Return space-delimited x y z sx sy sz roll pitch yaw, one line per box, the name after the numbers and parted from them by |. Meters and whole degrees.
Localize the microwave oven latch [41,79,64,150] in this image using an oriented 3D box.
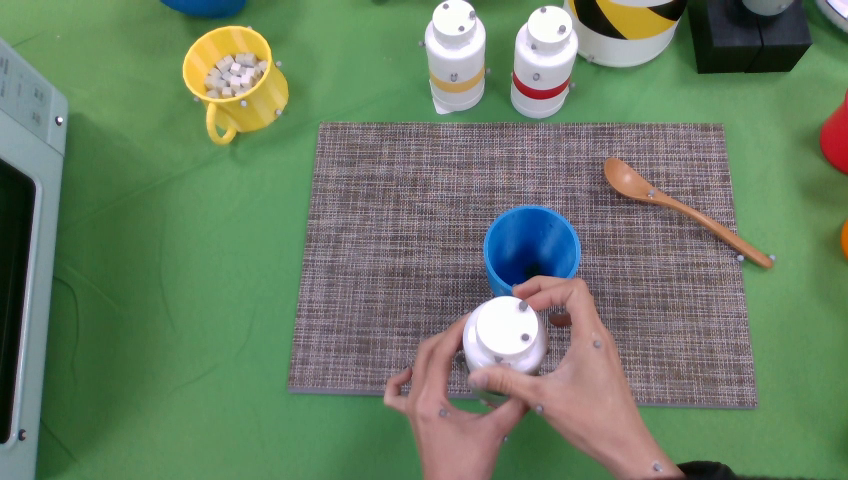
-0.431 -0.141 0.688 0.030 0.030 0.078 -6 71 2 | microwave oven latch

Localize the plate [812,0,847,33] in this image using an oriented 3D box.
0.536 -0.302 0.692 0.209 0.038 0.207 -1 71 4 | plate

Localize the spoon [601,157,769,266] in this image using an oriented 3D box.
0.265 -0.029 0.621 0.193 0.022 0.041 32 51 14 | spoon

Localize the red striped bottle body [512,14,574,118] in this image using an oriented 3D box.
0.124 -0.187 0.639 0.063 0.120 0.062 -3 68 8 | red striped bottle body

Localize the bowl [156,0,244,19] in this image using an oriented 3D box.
-0.267 -0.327 0.740 0.151 0.077 0.150 -1 71 3 | bowl

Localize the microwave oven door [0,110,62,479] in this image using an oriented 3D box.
-0.415 0.029 0.519 0.039 0.245 0.353 -8 70 2 | microwave oven door

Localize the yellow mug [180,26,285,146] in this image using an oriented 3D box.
-0.220 -0.169 0.687 0.100 0.064 0.130 11 72 7 | yellow mug

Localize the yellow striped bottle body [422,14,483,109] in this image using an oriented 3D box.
0.032 -0.199 0.650 0.063 0.121 0.062 -2 70 5 | yellow striped bottle body

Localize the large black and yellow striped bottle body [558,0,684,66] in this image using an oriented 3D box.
0.216 -0.288 0.634 0.131 0.185 0.130 -1 70 4 | large black and yellow striped bottle body

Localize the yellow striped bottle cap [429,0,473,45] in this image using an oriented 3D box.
0.027 -0.217 0.601 0.044 0.019 0.044 -1 72 3 | yellow striped bottle cap

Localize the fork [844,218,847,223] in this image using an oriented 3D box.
0.473 0.009 0.528 0.028 0.019 0.205 -37 28 -7 | fork

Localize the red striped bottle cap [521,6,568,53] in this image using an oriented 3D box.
0.118 -0.206 0.590 0.044 0.018 0.044 0 69 0 | red striped bottle cap

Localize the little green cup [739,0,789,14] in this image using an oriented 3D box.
0.366 -0.273 0.641 0.061 0.039 0.061 -1 69 3 | little green cup

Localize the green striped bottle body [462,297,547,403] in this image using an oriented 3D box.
0.061 0.085 0.471 0.063 0.120 0.062 -2 64 4 | green striped bottle body

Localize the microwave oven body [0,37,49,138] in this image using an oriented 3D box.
-0.564 0.012 0.542 0.326 0.262 0.438 -8 71 1 | microwave oven body

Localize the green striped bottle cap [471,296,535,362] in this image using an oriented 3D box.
0.055 0.062 0.422 0.044 0.020 0.044 -2 61 3 | green striped bottle cap

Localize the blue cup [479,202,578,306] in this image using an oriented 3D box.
0.093 0.024 0.573 0.092 0.101 0.092 -1 69 3 | blue cup
